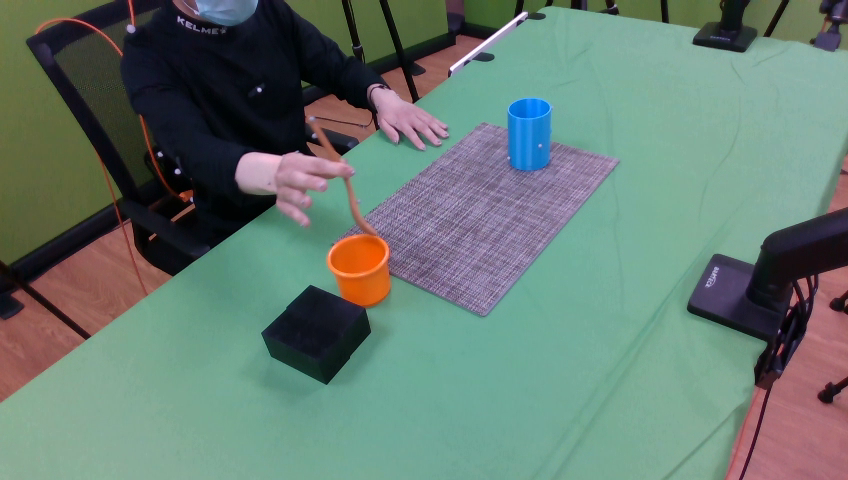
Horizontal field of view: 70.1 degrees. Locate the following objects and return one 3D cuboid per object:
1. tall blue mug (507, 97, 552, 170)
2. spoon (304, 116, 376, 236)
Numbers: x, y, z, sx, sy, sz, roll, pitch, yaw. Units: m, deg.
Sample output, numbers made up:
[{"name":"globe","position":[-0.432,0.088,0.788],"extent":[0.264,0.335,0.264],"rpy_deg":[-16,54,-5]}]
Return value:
[{"name":"tall blue mug","position":[0.179,-0.198,1.101],"extent":[0.078,0.108,0.106],"rpy_deg":[-36,49,-28]},{"name":"spoon","position":[-0.110,-0.081,0.805],"extent":[0.022,0.195,0.041],"rpy_deg":[-26,31,-6]}]
